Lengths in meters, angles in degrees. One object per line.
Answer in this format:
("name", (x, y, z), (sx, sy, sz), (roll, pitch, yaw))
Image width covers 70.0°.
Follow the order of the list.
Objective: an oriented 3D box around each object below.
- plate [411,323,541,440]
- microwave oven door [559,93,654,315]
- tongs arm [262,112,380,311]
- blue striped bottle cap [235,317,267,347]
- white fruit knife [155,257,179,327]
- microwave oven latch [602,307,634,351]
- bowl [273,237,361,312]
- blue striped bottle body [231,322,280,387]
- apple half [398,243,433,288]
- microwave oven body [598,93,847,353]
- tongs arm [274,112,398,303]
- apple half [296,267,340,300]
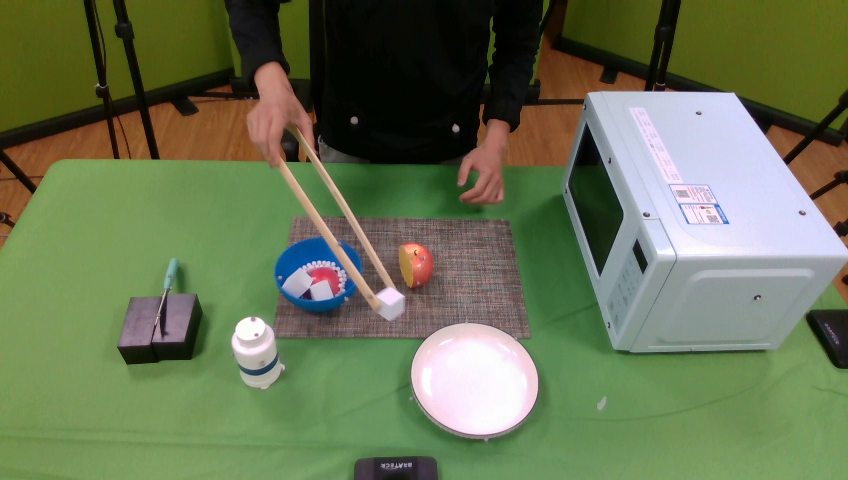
("plate", (0.082, 0.228, 0.976), (0.208, 0.039, 0.206), (2, 45, -2))
("microwave oven door", (0.327, -0.074, 1.123), (0.039, 0.245, 0.353), (0, 46, -5))
("tongs arm", (-0.163, -0.053, 0.961), (0.051, 0.026, 0.383), (-28, 71, -30))
("blue striped bottle cap", (-0.260, 0.137, 0.907), (0.044, 0.021, 0.044), (3, 43, -2))
("white fruit knife", (-0.440, 0.085, 1.037), (0.016, 0.027, 0.206), (10, 26, -19))
("microwave oven latch", (0.332, 0.153, 1.043), (0.030, 0.029, 0.078), (-1, 45, -4))
("bowl", (-0.186, 0.074, 1.069), (0.151, 0.077, 0.150), (3, 46, -2))
("blue striped bottle body", (-0.262, 0.171, 0.944), (0.063, 0.121, 0.062), (2, 46, -2))
("apple half", (-0.012, 0.047, 1.115), (0.053, 0.075, 0.080), (-11, 43, -20))
("microwave oven body", (0.475, -0.041, 1.109), (0.326, 0.261, 0.438), (-1, 45, -4))
("tongs arm", (-0.144, -0.061, 0.973), (0.028, 0.028, 0.386), (-25, 69, -25))
("apple half", (-0.187, 0.070, 1.067), (0.081, 0.033, 0.081), (3, 47, -2))
